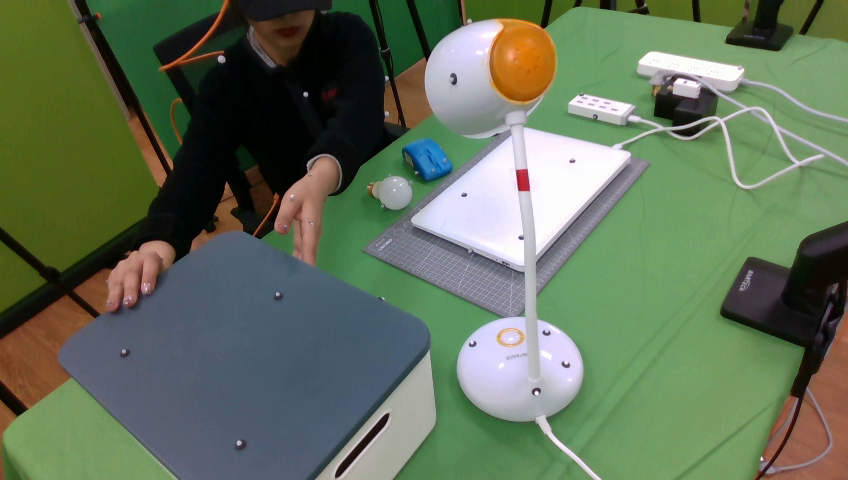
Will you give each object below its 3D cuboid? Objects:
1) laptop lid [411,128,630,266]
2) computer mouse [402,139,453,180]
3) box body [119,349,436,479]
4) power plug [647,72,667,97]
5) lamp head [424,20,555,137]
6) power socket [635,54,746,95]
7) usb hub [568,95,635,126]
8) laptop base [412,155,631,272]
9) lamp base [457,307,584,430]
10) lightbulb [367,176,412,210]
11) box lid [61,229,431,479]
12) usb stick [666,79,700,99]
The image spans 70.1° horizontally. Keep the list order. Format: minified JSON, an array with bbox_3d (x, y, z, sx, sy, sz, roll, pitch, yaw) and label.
[{"bbox_3d":[0.172,-0.093,1.049,0.239,0.013,0.358,24,50,36],"label":"laptop lid"},{"bbox_3d":[0.005,-0.159,1.165,0.063,0.041,0.116,-21,45,-17],"label":"computer mouse"},{"bbox_3d":[-0.191,0.171,0.712,0.361,0.161,0.255,22,49,32],"label":"box body"},{"bbox_3d":[0.493,-0.321,1.261,0.073,0.052,0.035,1,20,-41],"label":"power plug"},{"bbox_3d":[0.069,-0.153,0.572,0.113,0.112,0.122,-21,16,-14],"label":"lamp head"},{"bbox_3d":[0.564,-0.357,1.293,0.225,0.033,0.072,24,51,33],"label":"power socket"},{"bbox_3d":[0.360,-0.263,1.228,0.124,0.025,0.049,24,49,34],"label":"usb hub"},{"bbox_3d":[0.176,-0.083,1.055,0.233,0.023,0.355,21,48,36],"label":"laptop base"},{"bbox_3d":[0.116,0.108,0.713,0.161,0.181,0.178,-16,43,-8],"label":"lamp base"},{"bbox_3d":[-0.066,-0.086,1.084,0.060,0.060,0.107,-38,32,-30],"label":"lightbulb"},{"bbox_3d":[-0.201,0.115,0.662,0.368,0.015,0.264,22,50,33],"label":"box lid"},{"bbox_3d":[0.492,-0.288,1.152,0.058,0.027,0.021,20,50,34],"label":"usb stick"}]
